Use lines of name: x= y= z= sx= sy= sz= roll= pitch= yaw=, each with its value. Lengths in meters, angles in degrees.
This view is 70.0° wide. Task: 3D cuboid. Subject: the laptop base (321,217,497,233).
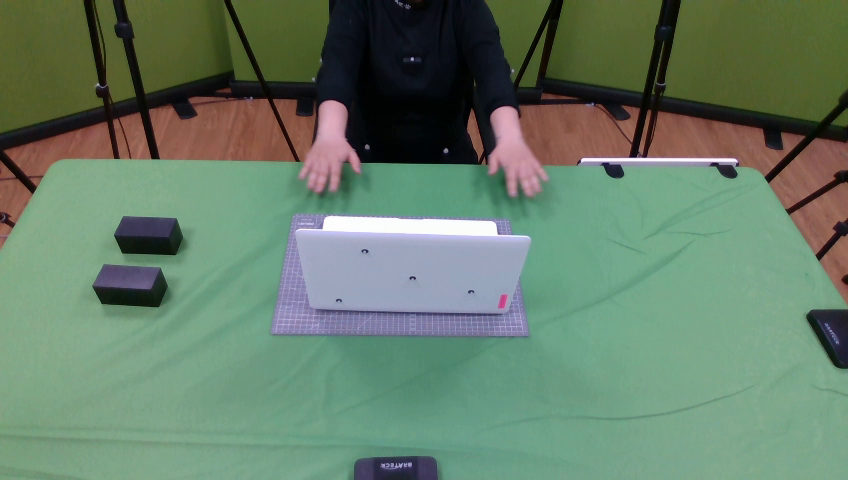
laptop base: x=-0.028 y=0.044 z=1.154 sx=0.354 sy=0.023 sz=0.234 roll=2 pitch=42 yaw=-3

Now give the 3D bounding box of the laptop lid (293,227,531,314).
laptop lid: x=-0.021 y=0.057 z=0.976 sx=0.357 sy=0.243 sz=0.013 roll=2 pitch=53 yaw=-4
